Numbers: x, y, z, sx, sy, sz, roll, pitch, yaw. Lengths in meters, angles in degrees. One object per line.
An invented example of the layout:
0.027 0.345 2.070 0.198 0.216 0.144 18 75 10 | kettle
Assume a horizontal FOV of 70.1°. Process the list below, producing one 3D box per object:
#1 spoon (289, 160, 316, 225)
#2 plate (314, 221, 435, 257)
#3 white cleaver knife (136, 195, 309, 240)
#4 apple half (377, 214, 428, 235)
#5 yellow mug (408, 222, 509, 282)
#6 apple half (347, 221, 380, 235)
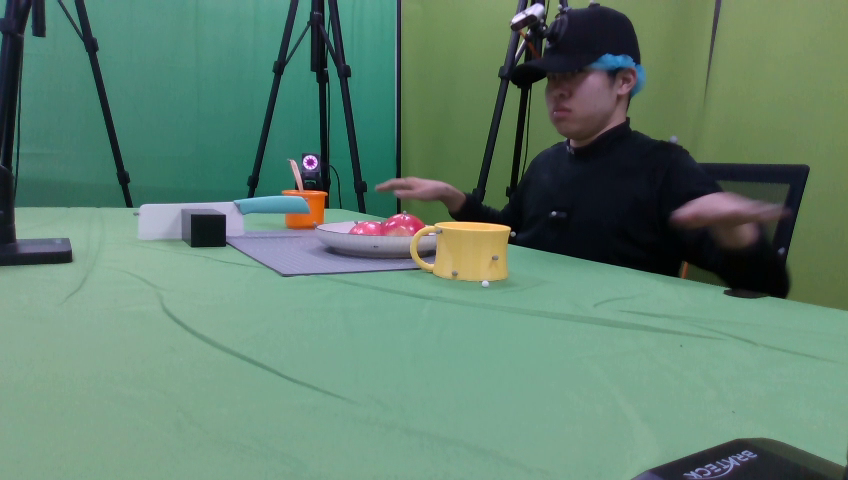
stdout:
-0.260 -0.102 1.268 0.042 0.193 0.021 1 -37 -27 | spoon
-0.067 -0.002 0.947 0.209 0.038 0.209 3 7 0 | plate
-0.337 -0.039 1.037 0.288 0.066 0.021 -6 15 -29 | white cleaver knife
-0.034 -0.013 0.924 0.080 0.053 0.075 5 10 16 | apple half
0.044 0.013 0.785 0.131 0.064 0.100 2 7 4 | yellow mug
-0.089 -0.014 0.985 0.081 0.033 0.081 5 6 0 | apple half
